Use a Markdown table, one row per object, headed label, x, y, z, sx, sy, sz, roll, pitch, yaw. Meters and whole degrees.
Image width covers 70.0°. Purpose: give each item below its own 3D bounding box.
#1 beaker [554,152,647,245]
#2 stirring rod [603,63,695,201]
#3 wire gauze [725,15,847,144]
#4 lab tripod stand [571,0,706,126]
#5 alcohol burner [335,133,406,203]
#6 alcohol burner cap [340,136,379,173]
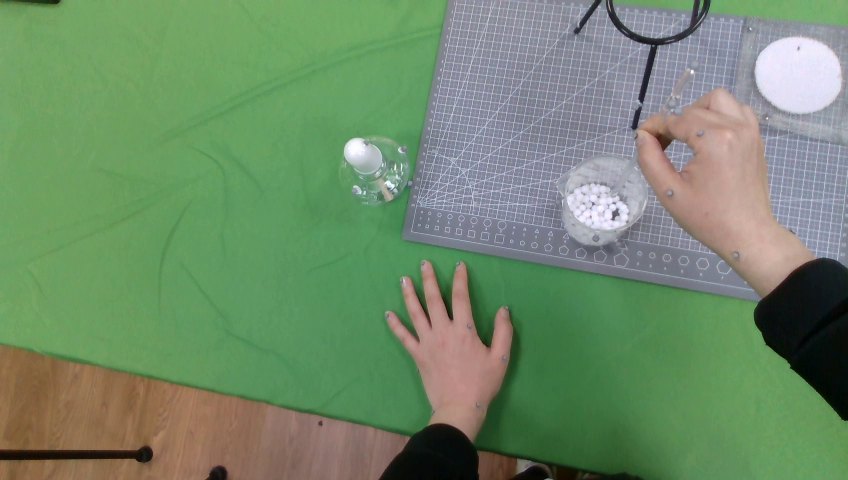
| label | x | y | z | sx | sy | sz | roll | pitch | yaw |
| --- | --- | --- | --- | --- | --- | --- | --- | --- | --- |
| beaker | 0.167 | -0.037 | 0.598 | 0.083 | 0.101 | 0.074 | 16 | 83 | 12 |
| stirring rod | 0.166 | -0.073 | 0.461 | 0.014 | 0.177 | 0.006 | 6 | 66 | 3 |
| wire gauze | 0.385 | -0.171 | 0.630 | 0.125 | 0.011 | 0.121 | 14 | 83 | 8 |
| lab tripod stand | 0.215 | -0.204 | 0.597 | 0.148 | 0.132 | 0.148 | -1 | 83 | 7 |
| alcohol burner | -0.060 | -0.080 | 0.635 | 0.078 | 0.119 | 0.077 | -1 | 79 | 7 |
| alcohol burner cap | -0.066 | -0.087 | 0.599 | 0.034 | 0.048 | 0.034 | -1 | 85 | 9 |
